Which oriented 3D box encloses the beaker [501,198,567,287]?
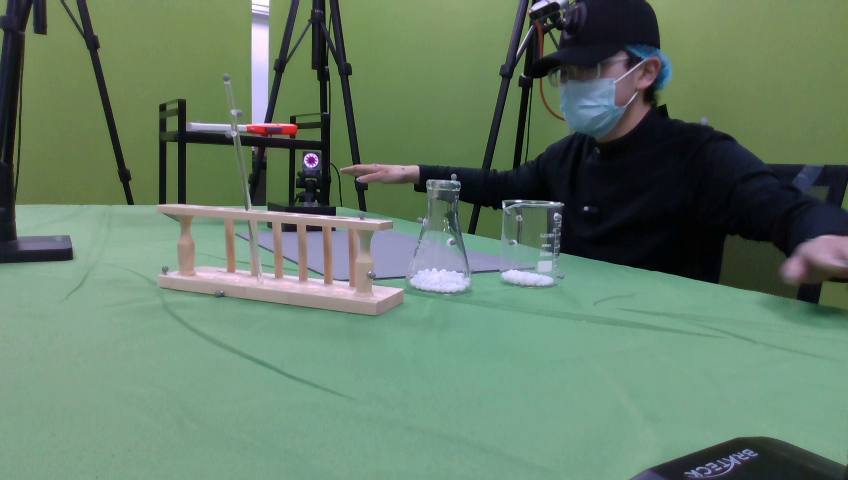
[{"bbox_3d":[0.127,0.002,0.718,0.084,0.100,0.073,-4,9,-35],"label":"beaker"}]

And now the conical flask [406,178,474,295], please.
[{"bbox_3d":[0.019,-0.006,0.655,0.075,0.122,0.075,2,7,0],"label":"conical flask"}]

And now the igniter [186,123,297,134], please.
[{"bbox_3d":[-0.392,-0.248,1.341,0.057,0.025,0.278,9,14,38],"label":"igniter"}]

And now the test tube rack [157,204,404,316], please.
[{"bbox_3d":[-0.143,0.013,0.598,0.242,0.085,0.067,5,8,19],"label":"test tube rack"}]

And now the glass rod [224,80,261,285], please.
[{"bbox_3d":[-0.174,-0.052,0.582,0.008,0.199,0.008,-7,8,1],"label":"glass rod"}]
